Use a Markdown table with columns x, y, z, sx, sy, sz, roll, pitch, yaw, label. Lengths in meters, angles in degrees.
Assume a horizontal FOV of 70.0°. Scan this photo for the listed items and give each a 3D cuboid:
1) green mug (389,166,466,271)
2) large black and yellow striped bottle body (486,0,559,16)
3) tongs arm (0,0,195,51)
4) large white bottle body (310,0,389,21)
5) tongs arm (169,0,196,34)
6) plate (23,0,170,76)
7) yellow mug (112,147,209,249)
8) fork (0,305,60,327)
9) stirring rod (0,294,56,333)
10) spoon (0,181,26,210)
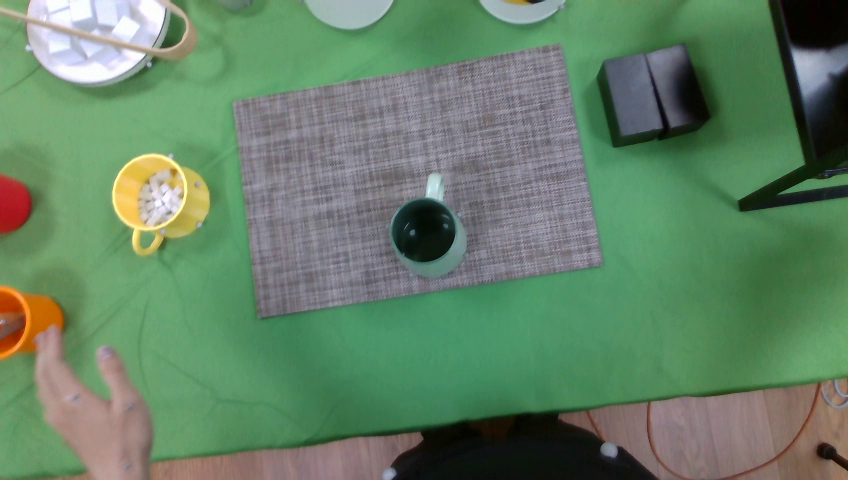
| x | y | z | sx | sy | sz | roll | pitch | yaw | label |
| --- | --- | --- | --- | --- | --- | --- | --- | --- | --- |
| 0.006 | -0.028 | 0.734 | 0.092 | 0.105 | 0.125 | 8 | 84 | 7 | green mug |
| 0.124 | -0.372 | 0.729 | 0.130 | 0.184 | 0.130 | -1 | 83 | 6 | large black and yellow striped bottle body |
| -0.491 | -0.316 | 0.817 | 0.384 | 0.026 | 0.050 | 20 | 82 | 9 | tongs arm |
| -0.109 | -0.372 | 0.748 | 0.130 | 0.185 | 0.130 | -1 | 83 | 6 | large white bottle body |
| -0.454 | -0.391 | 0.824 | 0.386 | 0.028 | 0.028 | 34 | 81 | 10 | tongs arm |
| -0.451 | -0.325 | 0.847 | 0.207 | 0.039 | 0.207 | -1 | 83 | 5 | plate |
| -0.348 | -0.050 | 0.791 | 0.100 | 0.064 | 0.130 | 17 | 86 | 6 | yellow mug |
| -0.571 | 0.085 | 0.752 | 0.209 | 0.018 | 0.028 | 15 | 78 | -37 | fork |
| -0.545 | 0.118 | 0.752 | 0.014 | 0.006 | 0.176 | 42 | 46 | 7 | stirring rod |
| -0.629 | -0.066 | 0.779 | 0.195 | 0.021 | 0.041 | 5 | 80 | -38 | spoon |
